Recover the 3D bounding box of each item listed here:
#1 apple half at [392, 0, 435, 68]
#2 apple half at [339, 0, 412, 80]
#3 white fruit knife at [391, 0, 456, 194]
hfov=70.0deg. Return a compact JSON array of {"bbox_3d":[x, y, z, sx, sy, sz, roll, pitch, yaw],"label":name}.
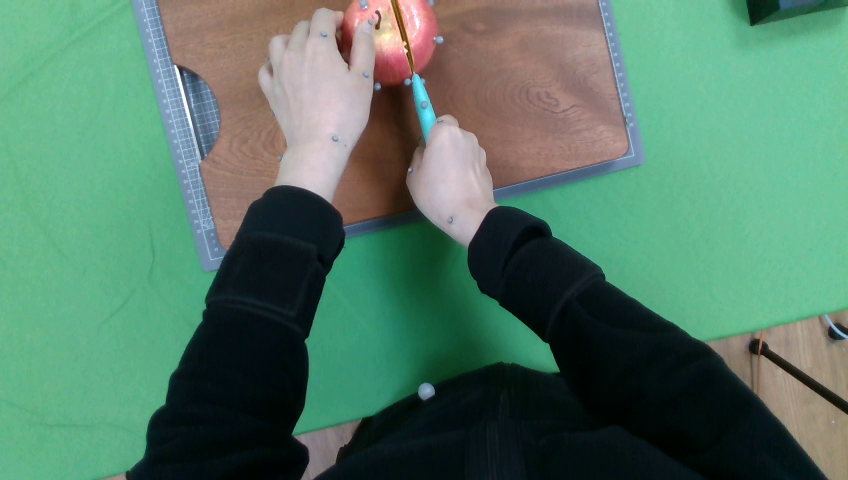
[{"bbox_3d":[-0.007,-0.190,0.531,0.033,0.081,0.081,-17,93,-2],"label":"apple half"},{"bbox_3d":[-0.046,-0.177,0.531,0.053,0.074,0.081,-18,95,6],"label":"apple half"},{"bbox_3d":[-0.009,-0.140,0.534,0.016,0.027,0.207,-19,95,-5],"label":"white fruit knife"}]
